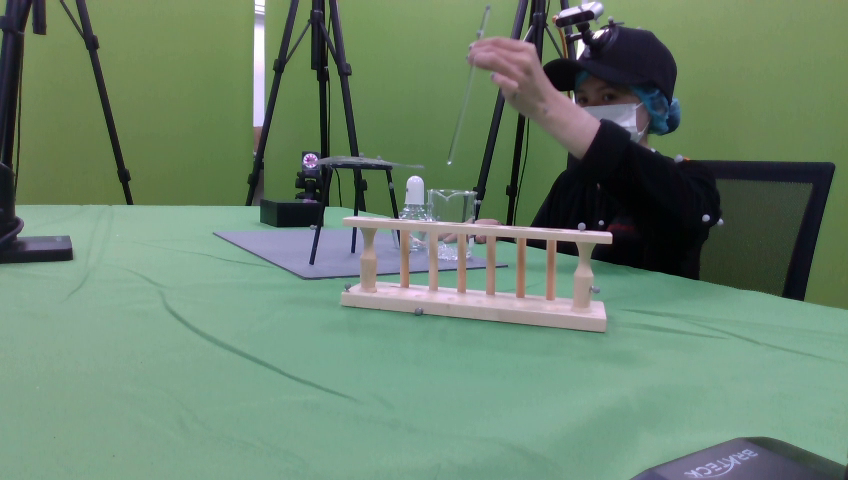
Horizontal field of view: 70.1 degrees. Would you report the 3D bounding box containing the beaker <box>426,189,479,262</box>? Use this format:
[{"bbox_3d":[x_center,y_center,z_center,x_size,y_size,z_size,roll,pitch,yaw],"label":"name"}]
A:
[{"bbox_3d":[0.039,-0.022,0.871,0.074,0.100,0.084,4,8,12],"label":"beaker"}]

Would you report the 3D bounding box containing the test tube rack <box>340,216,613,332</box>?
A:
[{"bbox_3d":[0.048,0.026,0.568,0.242,0.085,0.067,4,8,13],"label":"test tube rack"}]

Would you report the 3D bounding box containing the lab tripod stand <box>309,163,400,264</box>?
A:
[{"bbox_3d":[-0.091,-0.037,0.813,0.148,0.131,0.148,1,6,0],"label":"lab tripod stand"}]

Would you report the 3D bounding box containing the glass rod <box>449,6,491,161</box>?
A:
[{"bbox_3d":[0.058,-0.198,0.779,0.008,0.199,0.008,13,16,-3],"label":"glass rod"}]

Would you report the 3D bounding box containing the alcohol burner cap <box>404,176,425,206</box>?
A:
[{"bbox_3d":[-0.015,-0.077,0.951,0.034,0.048,0.034,2,4,0],"label":"alcohol burner cap"}]

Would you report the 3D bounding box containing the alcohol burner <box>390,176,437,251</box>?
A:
[{"bbox_3d":[-0.016,-0.042,0.955,0.078,0.119,0.078,4,5,0],"label":"alcohol burner"}]

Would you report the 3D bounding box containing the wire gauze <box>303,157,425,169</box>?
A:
[{"bbox_3d":[-0.082,-0.102,0.799,0.126,0.011,0.121,-1,7,-30],"label":"wire gauze"}]
